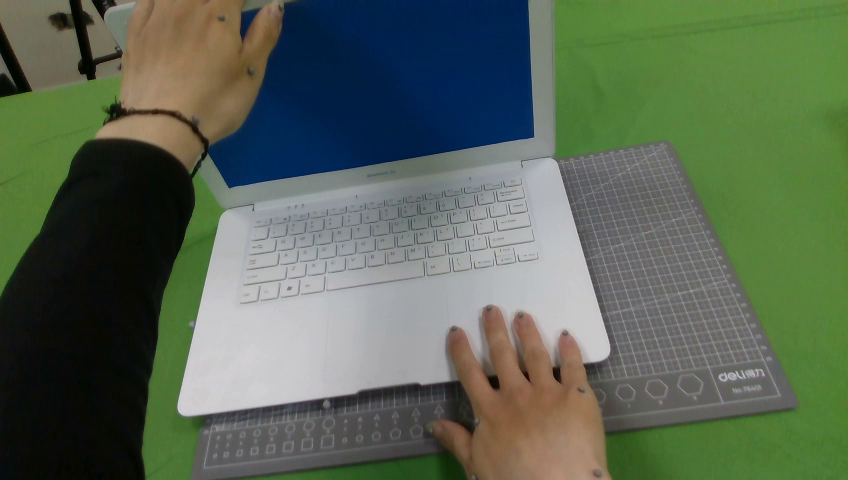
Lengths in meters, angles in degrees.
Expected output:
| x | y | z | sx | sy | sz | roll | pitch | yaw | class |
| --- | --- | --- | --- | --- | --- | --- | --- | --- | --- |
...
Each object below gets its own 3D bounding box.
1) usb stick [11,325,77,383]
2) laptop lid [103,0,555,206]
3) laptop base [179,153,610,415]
| x | y | z | sx | sy | sz | roll | pitch | yaw | class |
| --- | --- | --- | --- | --- | --- | --- | --- | --- | --- |
| -0.347 | 0.099 | 0.559 | 0.021 | 0.027 | 0.059 | 6 | 48 | 18 | usb stick |
| -0.061 | -0.135 | 0.541 | 0.356 | 0.244 | 0.013 | -10 | 49 | 6 | laptop lid |
| -0.034 | 0.031 | 0.554 | 0.354 | 0.023 | 0.233 | -9 | 52 | 5 | laptop base |
